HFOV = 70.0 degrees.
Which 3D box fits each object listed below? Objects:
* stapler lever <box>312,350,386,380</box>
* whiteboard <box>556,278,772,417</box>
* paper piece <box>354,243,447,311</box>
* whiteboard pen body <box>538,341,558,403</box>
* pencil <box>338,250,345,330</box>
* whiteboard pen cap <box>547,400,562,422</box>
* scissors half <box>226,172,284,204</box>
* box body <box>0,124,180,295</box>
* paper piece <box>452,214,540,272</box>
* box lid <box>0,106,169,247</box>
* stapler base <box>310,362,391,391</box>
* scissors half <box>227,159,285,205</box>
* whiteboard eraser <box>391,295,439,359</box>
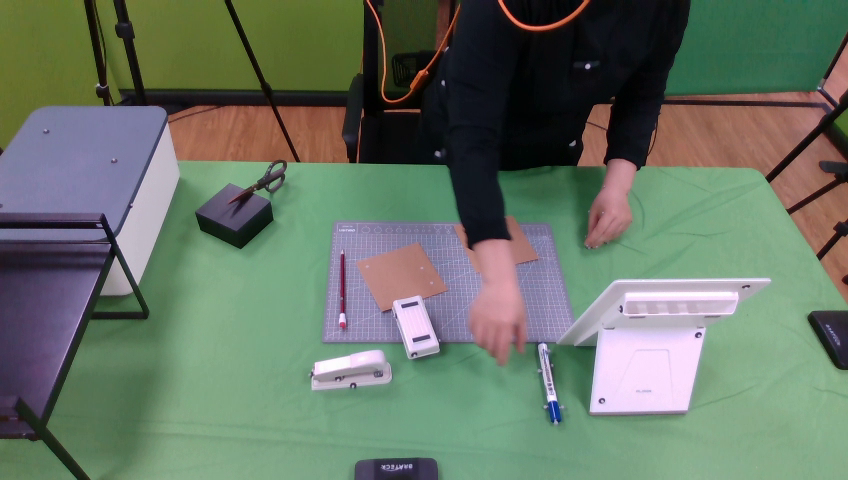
[{"bbox_3d":[-0.120,0.199,0.963,0.118,0.040,0.026,-4,44,-8],"label":"stapler lever"},{"bbox_3d":[0.347,0.174,0.903,0.217,0.306,0.143,1,65,-4],"label":"whiteboard"},{"bbox_3d":[-0.046,0.067,1.137,0.136,0.009,0.137,-14,47,-23],"label":"paper piece"},{"bbox_3d":[0.206,0.229,0.998,0.017,0.017,0.140,1,48,-3],"label":"whiteboard pen body"},{"bbox_3d":[-0.152,0.085,1.108,0.012,0.012,0.192,-2,44,-7],"label":"pencil"},{"bbox_3d":[0.205,0.269,0.956,0.018,0.018,0.033,-1,48,-5],"label":"whiteboard pen cap"},{"bbox_3d":[-0.340,-0.101,1.231,0.013,0.040,0.175,24,29,16],"label":"scissors half"},{"bbox_3d":[-0.628,-0.075,1.122,0.254,0.161,0.361,1,46,-4],"label":"box body"},{"bbox_3d":[0.142,0.003,1.213,0.135,0.004,0.135,-11,47,-14],"label":"paper piece"},{"bbox_3d":[-0.624,-0.125,1.067,0.263,0.015,0.369,0,46,-3],"label":"box lid"},{"bbox_3d":[-0.119,0.215,0.980,0.131,0.024,0.041,-5,44,-7],"label":"stapler base"},{"bbox_3d":[-0.336,-0.117,1.218,0.013,0.040,0.175,28,47,12],"label":"scissors half"},{"bbox_3d":[-0.016,0.150,1.034,0.056,0.042,0.112,-10,48,-15],"label":"whiteboard eraser"}]
